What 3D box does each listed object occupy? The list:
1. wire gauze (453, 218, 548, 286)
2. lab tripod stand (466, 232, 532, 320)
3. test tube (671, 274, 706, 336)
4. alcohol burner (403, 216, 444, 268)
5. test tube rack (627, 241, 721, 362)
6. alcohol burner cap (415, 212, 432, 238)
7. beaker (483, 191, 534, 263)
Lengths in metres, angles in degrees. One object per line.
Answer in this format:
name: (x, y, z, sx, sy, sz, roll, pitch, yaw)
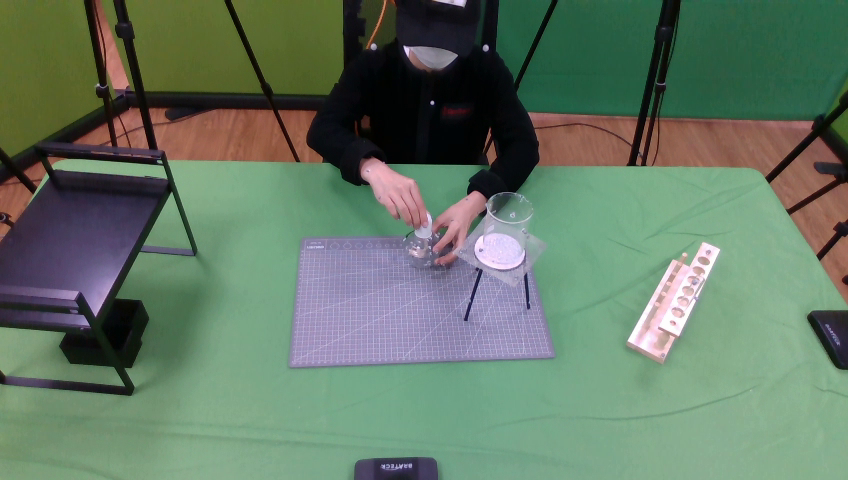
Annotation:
wire gauze: (0.129, 0.014, 1.019, 0.124, 0.011, 0.121, 26, 47, 25)
lab tripod stand: (0.125, 0.059, 1.065, 0.148, 0.132, 0.147, 1, 45, 0)
test tube: (0.429, 0.112, 1.004, 0.017, 0.151, 0.017, 4, 43, -4)
alcohol burner: (-0.001, -0.004, 1.132, 0.078, 0.120, 0.077, 1, 47, -1)
test tube rack: (0.452, 0.098, 1.087, 0.066, 0.085, 0.242, 28, 51, 22)
alcohol burner cap: (0.001, -0.031, 1.107, 0.034, 0.048, 0.033, 4, 43, -3)
beaker: (0.135, -0.020, 0.983, 0.073, 0.101, 0.084, 28, 50, 23)
